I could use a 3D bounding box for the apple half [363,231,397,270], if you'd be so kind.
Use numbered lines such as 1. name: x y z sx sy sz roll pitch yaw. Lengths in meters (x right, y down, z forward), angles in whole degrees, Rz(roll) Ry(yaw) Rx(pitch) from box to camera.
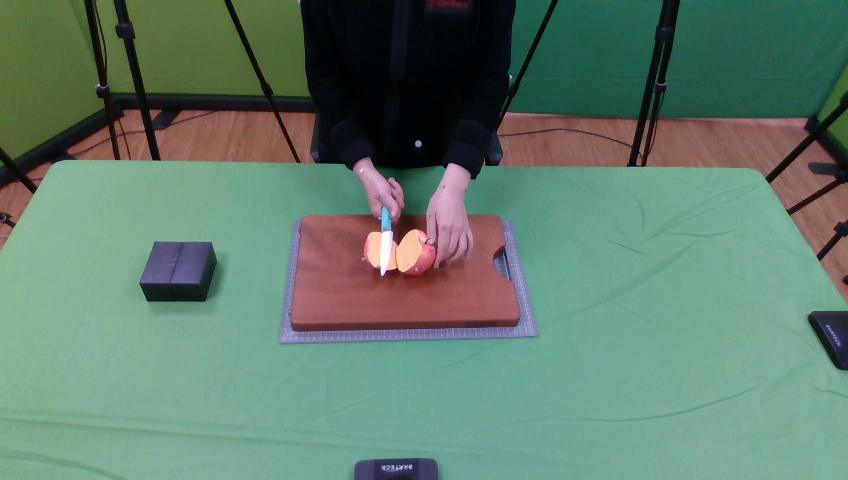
1. apple half: -0.084 0.027 1.111 0.082 0.033 0.081 24 50 -33

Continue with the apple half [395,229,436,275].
1. apple half: -0.011 0.027 1.098 0.053 0.075 0.080 23 32 -34

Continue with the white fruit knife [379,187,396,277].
1. white fruit knife: -0.071 -0.019 1.128 0.027 0.016 0.206 22 50 -24
